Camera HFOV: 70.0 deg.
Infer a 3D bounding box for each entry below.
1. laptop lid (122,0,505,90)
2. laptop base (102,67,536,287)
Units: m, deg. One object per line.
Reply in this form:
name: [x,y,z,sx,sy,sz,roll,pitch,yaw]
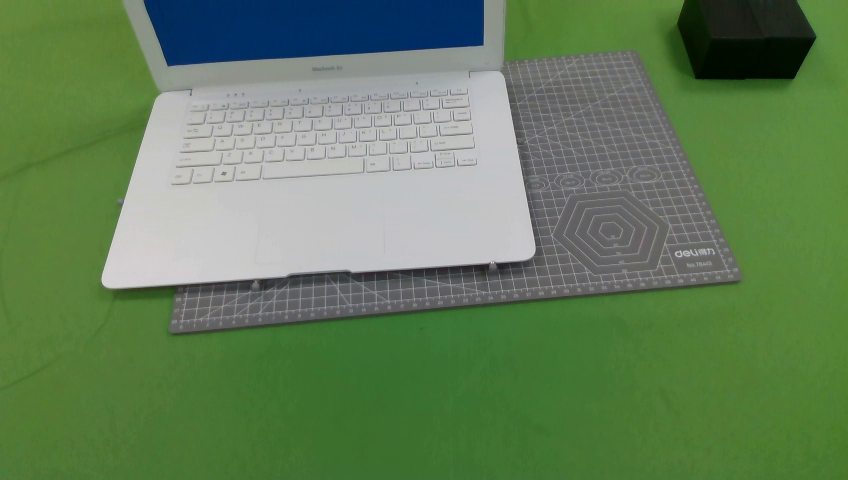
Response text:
laptop lid: [-0.102,-0.245,0.540,0.357,0.244,0.013,-5,45,1]
laptop base: [-0.090,-0.065,0.554,0.354,0.023,0.233,-4,57,0]
